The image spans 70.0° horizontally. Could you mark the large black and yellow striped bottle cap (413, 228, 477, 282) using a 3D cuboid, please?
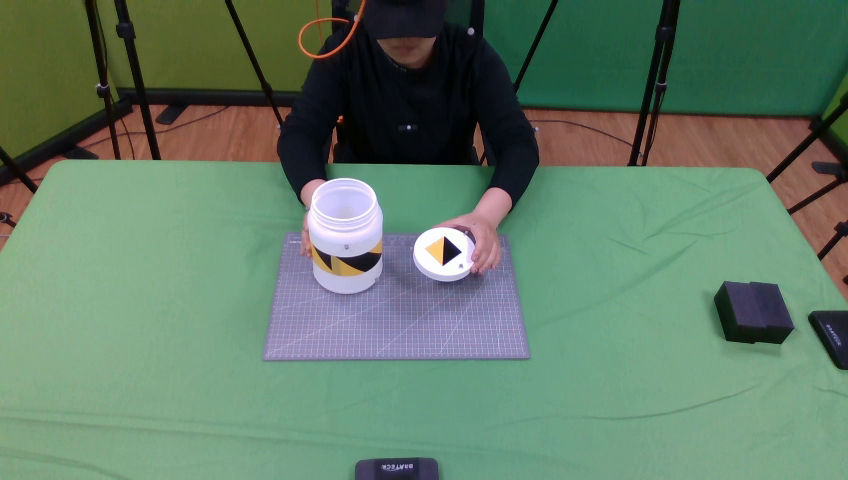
[{"bbox_3d":[0.038,0.025,1.094,0.115,0.019,0.114,3,49,-3],"label":"large black and yellow striped bottle cap"}]

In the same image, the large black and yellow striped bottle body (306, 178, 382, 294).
[{"bbox_3d":[-0.140,-0.007,1.078,0.131,0.185,0.130,2,46,-2],"label":"large black and yellow striped bottle body"}]
